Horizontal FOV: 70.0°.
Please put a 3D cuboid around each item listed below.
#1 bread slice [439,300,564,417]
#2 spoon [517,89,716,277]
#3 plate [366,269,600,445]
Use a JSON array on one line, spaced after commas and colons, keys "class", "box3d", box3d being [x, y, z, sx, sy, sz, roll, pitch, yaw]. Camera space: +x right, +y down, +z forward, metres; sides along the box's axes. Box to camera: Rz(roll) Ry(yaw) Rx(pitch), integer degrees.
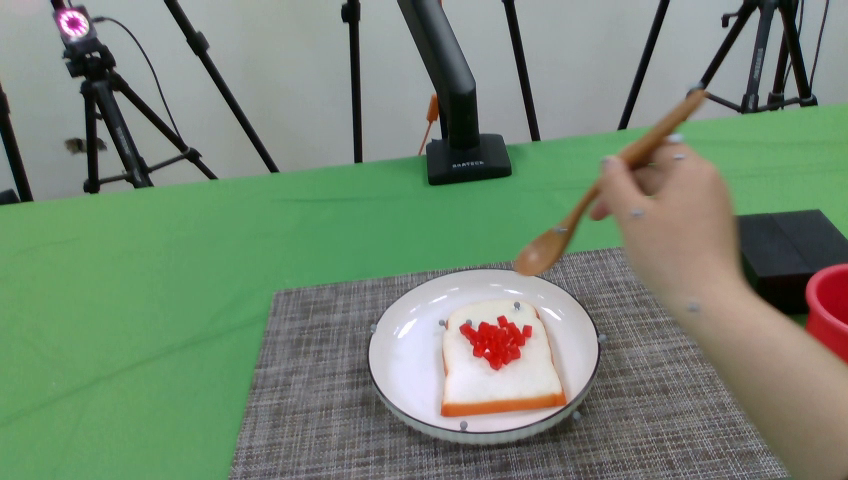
[{"class": "bread slice", "box3d": [0.064, 0.103, 0.556, 0.105, 0.019, 0.130, -5, 35, 3]}, {"class": "spoon", "box3d": [0.125, -0.032, 0.423, 0.022, 0.194, 0.041, 25, 45, -10]}, {"class": "plate", "box3d": [0.052, 0.104, 0.555, 0.209, 0.038, 0.207, -6, 35, 4]}]
